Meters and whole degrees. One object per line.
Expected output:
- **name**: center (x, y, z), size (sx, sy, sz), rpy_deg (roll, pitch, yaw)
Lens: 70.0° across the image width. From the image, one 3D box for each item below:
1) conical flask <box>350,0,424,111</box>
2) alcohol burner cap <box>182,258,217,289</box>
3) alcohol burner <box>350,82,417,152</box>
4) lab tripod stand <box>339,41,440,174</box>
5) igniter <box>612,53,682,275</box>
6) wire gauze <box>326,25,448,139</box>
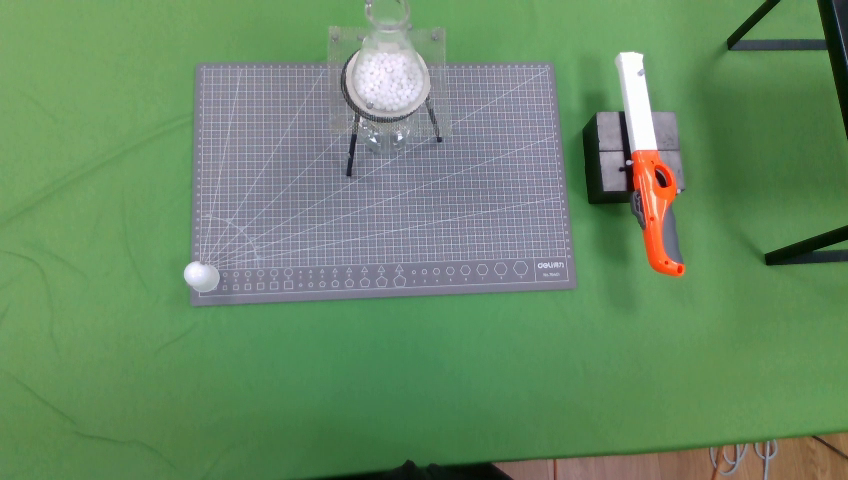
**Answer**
- **conical flask**: center (-0.034, -0.179, 0.563), size (0.075, 0.122, 0.075), rpy_deg (1, 75, -4)
- **alcohol burner cap**: center (-0.251, 0.035, 0.669), size (0.034, 0.048, 0.033), rpy_deg (2, 76, -6)
- **alcohol burner**: center (-0.047, -0.147, 0.693), size (0.078, 0.119, 0.077), rpy_deg (1, 78, -3)
- **lab tripod stand**: center (-0.050, -0.154, 0.684), size (0.148, 0.132, 0.147), rpy_deg (1, 77, -3)
- **igniter**: center (0.260, -0.093, 0.711), size (0.057, 0.025, 0.275), rpy_deg (-3, 76, -10)
- **wire gauze**: center (-0.037, -0.165, 0.620), size (0.125, 0.011, 0.121), rpy_deg (1, 79, -7)
